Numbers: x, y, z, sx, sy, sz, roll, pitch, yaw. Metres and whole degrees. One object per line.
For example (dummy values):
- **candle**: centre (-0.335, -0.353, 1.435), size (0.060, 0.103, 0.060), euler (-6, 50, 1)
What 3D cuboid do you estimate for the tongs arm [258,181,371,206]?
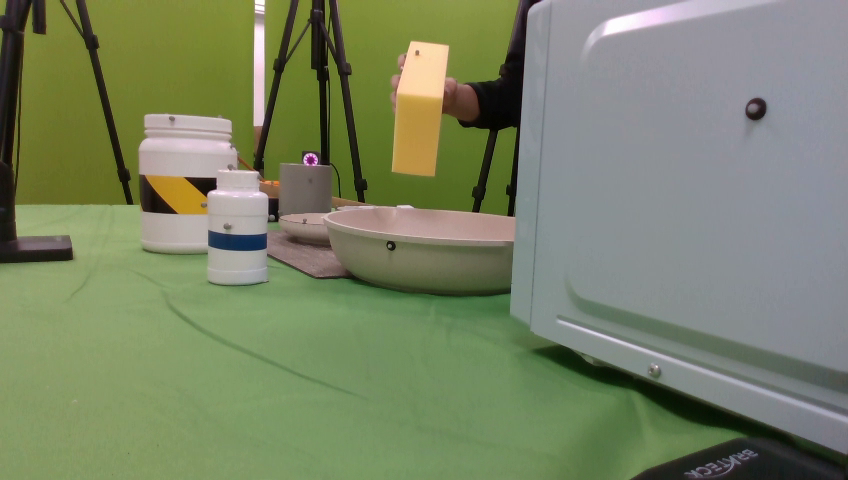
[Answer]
- **tongs arm**: centre (-0.241, -0.095, 1.373), size (0.387, 0.026, 0.050), euler (9, 0, -37)

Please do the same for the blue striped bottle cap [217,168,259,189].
- **blue striped bottle cap**: centre (-0.202, -0.067, 0.657), size (0.044, 0.020, 0.044), euler (0, 10, 0)

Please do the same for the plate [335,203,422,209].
- **plate**: centre (-0.089, -0.053, 1.309), size (0.208, 0.039, 0.207), euler (2, 8, 0)

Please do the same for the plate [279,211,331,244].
- **plate**: centre (-0.139, -0.022, 1.021), size (0.209, 0.038, 0.209), euler (2, 8, 0)

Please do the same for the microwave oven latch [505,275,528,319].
- **microwave oven latch**: centre (0.100, 0.042, 0.472), size (0.079, 0.029, 0.030), euler (-2, 8, -30)

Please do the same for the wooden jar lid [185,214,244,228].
- **wooden jar lid**: centre (-0.404, -0.037, 1.169), size (0.108, 0.020, 0.108), euler (3, 7, 0)

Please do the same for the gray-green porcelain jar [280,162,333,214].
- **gray-green porcelain jar**: centre (-0.238, -0.092, 1.221), size (0.106, 0.126, 0.106), euler (2, 7, 0)

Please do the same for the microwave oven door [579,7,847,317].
- **microwave oven door**: centre (0.294, -0.067, 0.570), size (0.358, 0.243, 0.039), euler (-3, 9, -31)

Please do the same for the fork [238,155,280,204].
- **fork**: centre (-0.396, -0.143, 1.486), size (0.028, 0.018, 0.208), euler (20, -26, 45)

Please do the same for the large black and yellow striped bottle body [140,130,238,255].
- **large black and yellow striped bottle body**: centre (-0.336, -0.078, 0.871), size (0.131, 0.184, 0.130), euler (2, 8, 0)

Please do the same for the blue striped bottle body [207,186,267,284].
- **blue striped bottle body**: centre (-0.204, -0.016, 0.663), size (0.063, 0.120, 0.063), euler (2, 7, 0)

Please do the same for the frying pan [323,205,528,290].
- **frying pan**: centre (0.110, -0.017, 0.800), size (0.490, 0.102, 0.305), euler (-12, 16, -31)

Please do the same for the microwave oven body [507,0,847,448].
- **microwave oven body**: centre (0.331, -0.042, 0.425), size (0.444, 0.260, 0.324), euler (-2, 8, -31)

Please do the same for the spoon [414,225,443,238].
- **spoon**: centre (0.016, -0.020, 1.113), size (0.041, 0.021, 0.194), euler (-14, 3, 12)

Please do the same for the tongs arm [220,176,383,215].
- **tongs arm**: centre (-0.285, -0.105, 1.445), size (0.389, 0.027, 0.028), euler (9, -4, -23)

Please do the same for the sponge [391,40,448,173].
- **sponge**: centre (-0.004, -0.198, 0.871), size (0.061, 0.118, 0.206), euler (6, 35, 1)

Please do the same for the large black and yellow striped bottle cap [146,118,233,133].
- **large black and yellow striped bottle cap**: centre (-0.333, -0.163, 0.861), size (0.115, 0.019, 0.115), euler (1, 9, 0)
